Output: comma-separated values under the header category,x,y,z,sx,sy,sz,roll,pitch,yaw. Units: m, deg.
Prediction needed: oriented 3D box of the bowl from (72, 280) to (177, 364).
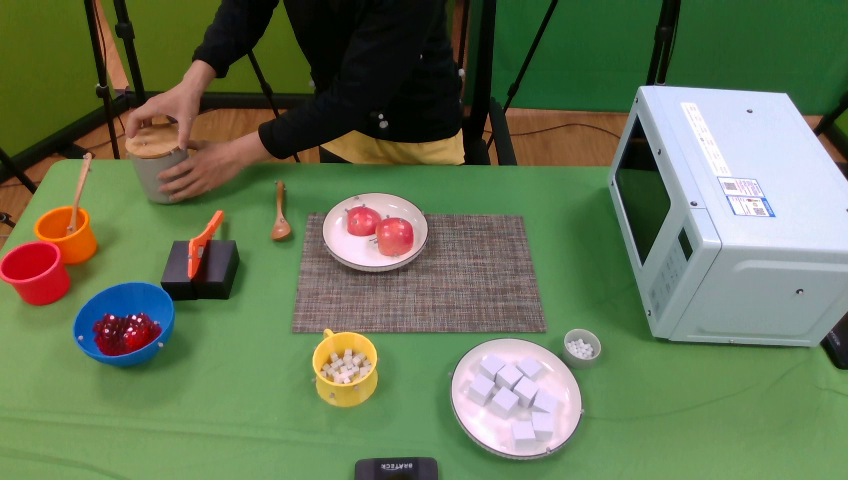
category,x,y,z,sx,sy,sz,roll,pitch,yaw
bowl,-0.473,0.147,0.982,0.151,0.077,0.150,2,46,-2

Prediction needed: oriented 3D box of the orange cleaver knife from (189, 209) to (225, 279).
category,x,y,z,sx,sy,sz,roll,pitch,yaw
orange cleaver knife,-0.401,0.002,1.122,0.012,0.077,0.210,4,23,-4

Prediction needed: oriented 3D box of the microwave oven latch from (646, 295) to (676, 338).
category,x,y,z,sx,sy,sz,roll,pitch,yaw
microwave oven latch,0.413,0.133,1.060,0.030,0.029,0.078,4,46,1

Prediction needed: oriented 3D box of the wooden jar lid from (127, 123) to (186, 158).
category,x,y,z,sx,sy,sz,roll,pitch,yaw
wooden jar lid,-0.518,-0.190,1.179,0.108,0.021,0.107,2,44,-1

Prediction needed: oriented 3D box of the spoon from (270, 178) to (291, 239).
category,x,y,z,sx,sy,sz,roll,pitch,yaw
spoon,-0.293,-0.069,1.237,0.041,0.022,0.192,-18,48,6

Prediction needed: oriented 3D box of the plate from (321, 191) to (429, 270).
category,x,y,z,sx,sy,sz,roll,pitch,yaw
plate,-0.094,-0.015,1.185,0.209,0.038,0.208,2,46,-2

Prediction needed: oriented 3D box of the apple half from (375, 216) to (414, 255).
category,x,y,z,sx,sy,sz,roll,pitch,yaw
apple half,-0.056,-0.017,1.169,0.075,0.053,0.080,0,46,-7

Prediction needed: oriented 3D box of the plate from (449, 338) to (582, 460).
category,x,y,z,sx,sy,sz,roll,pitch,yaw
plate,0.141,0.251,0.956,0.208,0.039,0.206,2,46,-2

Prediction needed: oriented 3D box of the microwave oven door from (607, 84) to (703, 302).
category,x,y,z,sx,sy,sz,roll,pitch,yaw
microwave oven door,0.424,-0.096,1.137,0.039,0.245,0.353,3,46,-1

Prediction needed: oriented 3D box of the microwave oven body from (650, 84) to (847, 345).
category,x,y,z,sx,sy,sz,roll,pitch,yaw
microwave oven body,0.569,-0.054,1.116,0.326,0.261,0.439,2,46,-1

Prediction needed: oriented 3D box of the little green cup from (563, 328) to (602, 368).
category,x,y,z,sx,sy,sz,roll,pitch,yaw
little green cup,0.266,0.185,1.025,0.061,0.039,0.061,1,45,-1

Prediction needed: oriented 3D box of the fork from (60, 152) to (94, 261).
category,x,y,z,sx,sy,sz,roll,pitch,yaw
fork,-0.638,-0.062,1.119,0.028,0.018,0.207,12,90,12

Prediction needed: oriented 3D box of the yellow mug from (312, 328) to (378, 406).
category,x,y,z,sx,sy,sz,roll,pitch,yaw
yellow mug,-0.132,0.193,0.971,0.100,0.064,0.130,-22,51,-22

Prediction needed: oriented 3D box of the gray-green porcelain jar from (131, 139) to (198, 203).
category,x,y,z,sx,sy,sz,roll,pitch,yaw
gray-green porcelain jar,-0.521,-0.147,1.223,0.106,0.127,0.105,2,47,-2

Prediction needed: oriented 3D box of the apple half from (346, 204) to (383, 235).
category,x,y,z,sx,sy,sz,roll,pitch,yaw
apple half,-0.119,-0.049,1.207,0.081,0.033,0.081,2,50,-2
